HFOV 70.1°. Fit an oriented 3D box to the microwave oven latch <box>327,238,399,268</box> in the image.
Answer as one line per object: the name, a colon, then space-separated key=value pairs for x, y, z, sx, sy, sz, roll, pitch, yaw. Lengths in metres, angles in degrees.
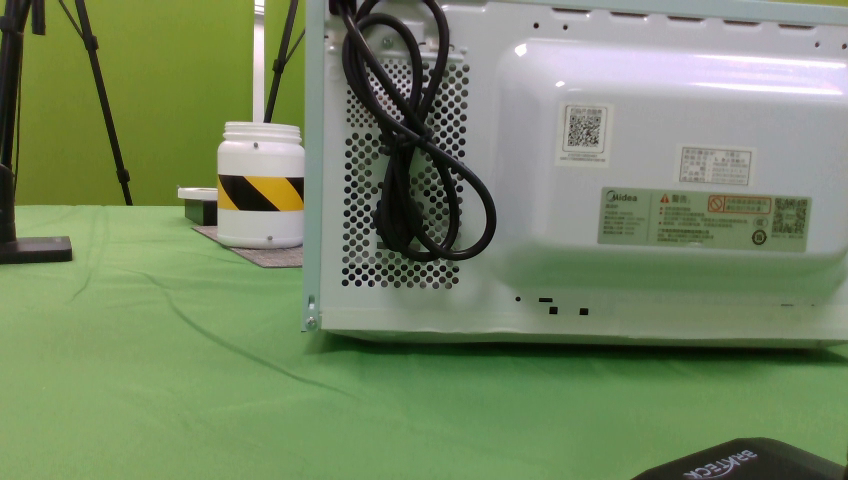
microwave oven latch: x=-0.069 y=0.015 z=0.694 sx=0.079 sy=0.029 sz=0.030 roll=3 pitch=7 yaw=-3

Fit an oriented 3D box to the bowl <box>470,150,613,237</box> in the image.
bowl: x=0.120 y=-0.045 z=0.649 sx=0.151 sy=0.076 sz=0.151 roll=7 pitch=1 yaw=0

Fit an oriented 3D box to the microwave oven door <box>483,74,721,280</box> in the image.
microwave oven door: x=0.221 y=-0.093 z=0.843 sx=0.039 sy=0.243 sz=0.354 roll=-3 pitch=9 yaw=-38

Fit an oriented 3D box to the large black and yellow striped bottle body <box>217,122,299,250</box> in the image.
large black and yellow striped bottle body: x=-0.250 y=-0.084 z=0.931 sx=0.131 sy=0.184 sz=0.130 roll=2 pitch=7 yaw=0

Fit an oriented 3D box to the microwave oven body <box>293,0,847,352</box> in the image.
microwave oven body: x=0.122 y=-0.055 z=0.550 sx=0.442 sy=0.260 sz=0.325 roll=3 pitch=7 yaw=-5

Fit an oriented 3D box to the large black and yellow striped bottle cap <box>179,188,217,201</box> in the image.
large black and yellow striped bottle cap: x=-0.434 y=-0.093 z=1.226 sx=0.115 sy=0.019 sz=0.115 roll=3 pitch=9 yaw=0
